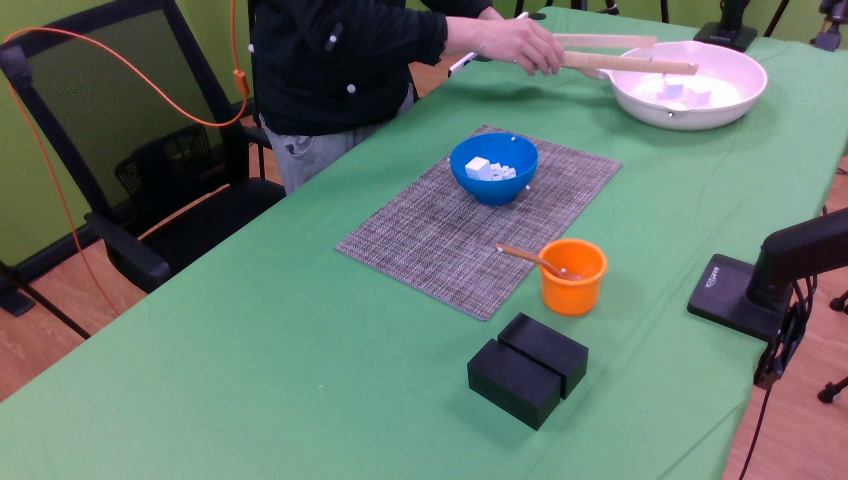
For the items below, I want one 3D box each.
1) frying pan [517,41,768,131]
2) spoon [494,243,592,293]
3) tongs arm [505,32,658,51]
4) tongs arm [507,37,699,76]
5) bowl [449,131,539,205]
[{"bbox_3d":[0.424,-0.338,1.236,0.486,0.103,0.307,18,45,15],"label":"frying pan"},{"bbox_3d":[0.161,0.035,0.808,0.021,0.195,0.041,-48,40,20],"label":"spoon"},{"bbox_3d":[0.305,-0.371,1.136,0.390,0.028,0.028,-10,48,-29],"label":"tongs arm"},{"bbox_3d":[0.330,-0.327,1.088,0.387,0.026,0.050,-3,42,-22],"label":"tongs arm"},{"bbox_3d":[0.120,-0.114,1.034,0.151,0.077,0.150,-4,41,4],"label":"bowl"}]
